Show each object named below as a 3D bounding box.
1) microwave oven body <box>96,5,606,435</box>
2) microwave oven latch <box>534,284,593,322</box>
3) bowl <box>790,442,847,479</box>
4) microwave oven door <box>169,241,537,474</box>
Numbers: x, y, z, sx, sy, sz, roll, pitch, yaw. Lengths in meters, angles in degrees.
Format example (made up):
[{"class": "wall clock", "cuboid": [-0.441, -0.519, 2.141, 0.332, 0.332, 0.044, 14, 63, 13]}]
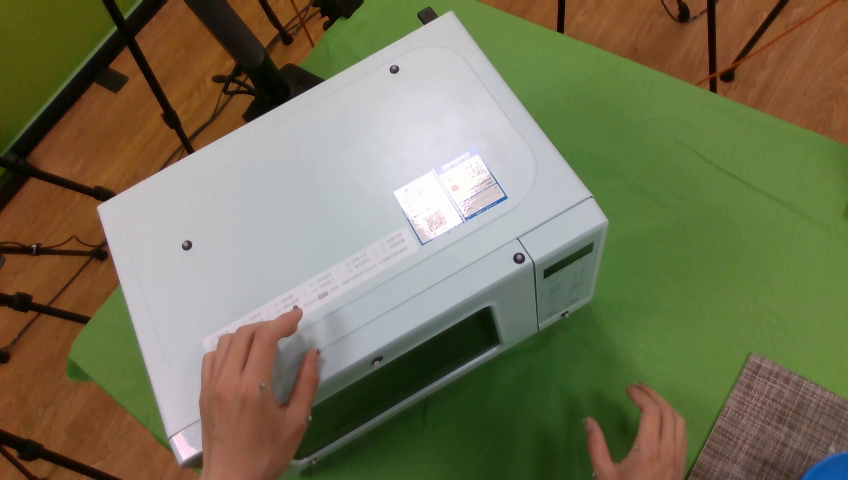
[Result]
[{"class": "microwave oven body", "cuboid": [-0.074, 0.004, 0.704, 0.442, 0.262, 0.323, -30, 66, -1]}, {"class": "microwave oven latch", "cuboid": [0.166, 0.069, 0.737, 0.079, 0.030, 0.030, -28, 66, -1]}, {"class": "bowl", "cuboid": [0.424, 0.278, 0.592, 0.151, 0.077, 0.150, -4, 67, 10]}, {"class": "microwave oven door", "cuboid": [-0.045, 0.137, 0.637, 0.356, 0.246, 0.039, -30, 64, -2]}]
